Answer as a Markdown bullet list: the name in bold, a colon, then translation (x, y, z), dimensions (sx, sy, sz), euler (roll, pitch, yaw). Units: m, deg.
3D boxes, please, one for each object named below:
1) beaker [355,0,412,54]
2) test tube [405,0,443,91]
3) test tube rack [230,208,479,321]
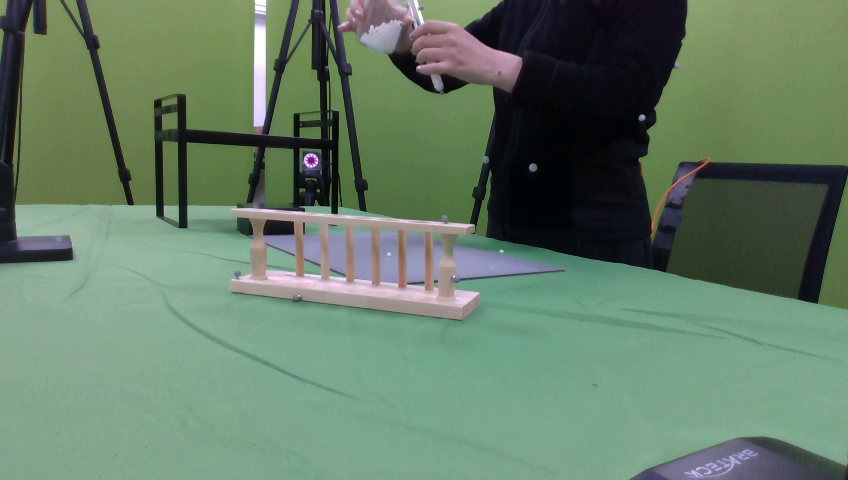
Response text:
- **beaker**: translation (-0.064, -0.355, 0.968), dimensions (0.074, 0.100, 0.083), euler (-11, 43, -46)
- **test tube**: translation (0.001, -0.297, 0.917), dimensions (0.017, 0.150, 0.017), euler (-18, -5, -1)
- **test tube rack**: translation (-0.069, 0.017, 0.598), dimensions (0.242, 0.085, 0.067), euler (5, 8, 18)
